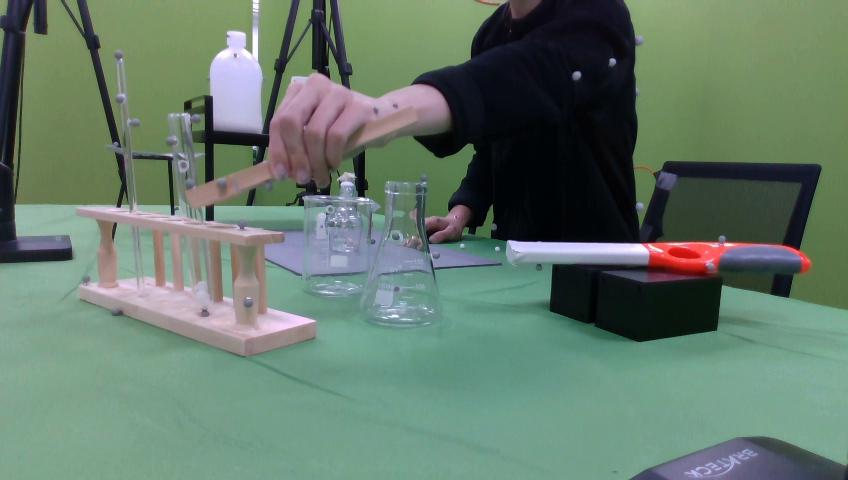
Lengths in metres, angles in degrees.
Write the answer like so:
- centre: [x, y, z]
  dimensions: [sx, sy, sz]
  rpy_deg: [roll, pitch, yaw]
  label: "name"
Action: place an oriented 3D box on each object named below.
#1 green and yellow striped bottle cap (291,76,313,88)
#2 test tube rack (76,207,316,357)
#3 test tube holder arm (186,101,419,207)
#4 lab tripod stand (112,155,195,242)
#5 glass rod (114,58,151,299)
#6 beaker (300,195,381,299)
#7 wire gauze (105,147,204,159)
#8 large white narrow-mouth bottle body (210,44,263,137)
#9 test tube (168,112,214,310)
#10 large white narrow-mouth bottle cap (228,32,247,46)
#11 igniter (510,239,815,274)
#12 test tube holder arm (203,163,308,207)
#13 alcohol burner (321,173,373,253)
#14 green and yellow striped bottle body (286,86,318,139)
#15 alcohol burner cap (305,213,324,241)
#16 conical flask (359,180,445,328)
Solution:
- centre: [-0.250, -0.321, 1.237]
  dimensions: [0.045, 0.020, 0.045]
  rpy_deg: [4, 4, 0]
  label: "green and yellow striped bottle cap"
- centre: [-0.196, 0.023, 0.500]
  dimensions: [0.241, 0.085, 0.067]
  rpy_deg: [8, 9, 36]
  label: "test tube rack"
- centre: [-0.087, -0.063, 0.446]
  dimensions: [0.178, 0.015, 0.013]
  rpy_deg: [-22, 2, -4]
  label: "test tube holder arm"
- centre: [-0.405, -0.064, 0.931]
  dimensions: [0.148, 0.131, 0.148]
  rpy_deg: [1, 6, 0]
  label: "lab tripod stand"
- centre: [-0.236, -0.044, 0.492]
  dimensions: [0.008, 0.199, 0.008]
  rpy_deg: [1, 15, 0]
  label: "glass rod"
- centre: [-0.087, 0.006, 0.626]
  dimensions: [0.084, 0.100, 0.074]
  rpy_deg: [1, 8, -17]
  label: "beaker"
- centre: [-0.408, -0.131, 0.928]
  dimensions: [0.125, 0.011, 0.121]
  rpy_deg: [2, 6, -11]
  label: "wire gauze"
- centre: [-0.369, -0.305, 1.193]
  dimensions: [0.102, 0.194, 0.102]
  rpy_deg: [4, 8, 0]
  label: "large white narrow-mouth bottle body"
- centre: [-0.175, -0.020, 0.455]
  dimensions: [0.017, 0.150, 0.017]
  rpy_deg: [-4, 9, 1]
  label: "test tube"
- centre: [-0.364, -0.390, 1.179]
  dimensions: [0.038, 0.024, 0.037]
  rpy_deg: [4, 8, 0]
  label: "large white narrow-mouth bottle cap"
- centre: [0.220, 0.015, 0.565]
  dimensions: [0.277, 0.025, 0.057]
  rpy_deg: [2, 17, -1]
  label: "igniter"
- centre: [-0.128, -0.047, 0.452]
  dimensions: [0.088, 0.015, 0.010]
  rpy_deg: [-22, 1, 12]
  label: "test tube holder arm"
- centre: [-0.115, -0.041, 0.905]
  dimensions: [0.078, 0.119, 0.078]
  rpy_deg: [1, 6, 0]
  label: "alcohol burner"
- centre: [-0.251, -0.270, 1.245]
  dimensions: [0.063, 0.119, 0.063]
  rpy_deg: [2, 7, 0]
  label: "green and yellow striped bottle body"
- centre: [-0.185, -0.023, 1.027]
  dimensions: [0.034, 0.048, 0.034]
  rpy_deg: [3, 6, 0]
  label: "alcohol burner cap"
- centre: [-0.017, 0.010, 0.522]
  dimensions: [0.075, 0.122, 0.075]
  rpy_deg: [2, 7, 0]
  label: "conical flask"
